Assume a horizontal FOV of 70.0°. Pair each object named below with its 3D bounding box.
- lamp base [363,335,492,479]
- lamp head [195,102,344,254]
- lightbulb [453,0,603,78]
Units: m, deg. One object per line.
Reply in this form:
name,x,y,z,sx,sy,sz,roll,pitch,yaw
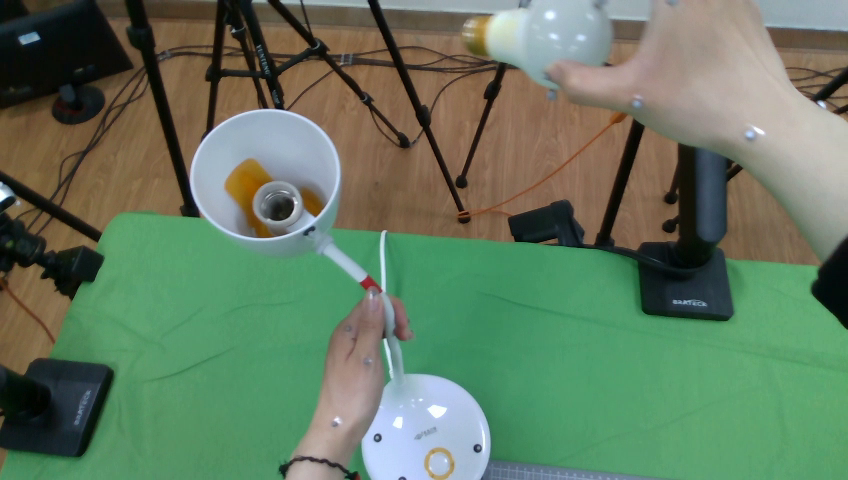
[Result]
lamp base,-0.006,0.191,0.696,0.160,0.182,0.177,-31,61,-15
lamp head,-0.116,-0.036,0.510,0.112,0.124,0.111,0,68,1
lightbulb,0.063,-0.139,0.395,0.107,0.060,0.059,18,60,36
